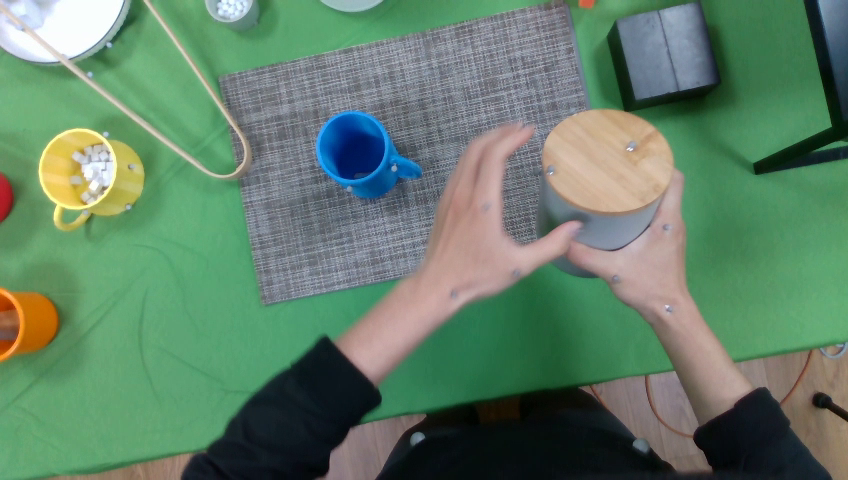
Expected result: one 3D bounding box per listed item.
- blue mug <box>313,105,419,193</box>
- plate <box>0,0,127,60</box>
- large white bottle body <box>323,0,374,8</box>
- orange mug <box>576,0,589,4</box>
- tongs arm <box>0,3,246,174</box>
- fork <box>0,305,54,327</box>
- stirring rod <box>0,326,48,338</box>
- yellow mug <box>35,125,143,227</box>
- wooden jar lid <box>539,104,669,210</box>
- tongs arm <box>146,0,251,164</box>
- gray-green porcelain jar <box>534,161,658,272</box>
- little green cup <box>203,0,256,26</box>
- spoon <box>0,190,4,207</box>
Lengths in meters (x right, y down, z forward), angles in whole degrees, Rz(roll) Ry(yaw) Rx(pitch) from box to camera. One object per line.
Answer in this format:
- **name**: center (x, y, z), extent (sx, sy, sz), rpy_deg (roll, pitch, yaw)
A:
- **blue mug**: center (-0.062, -0.100, 0.713), extent (0.116, 0.106, 0.082), rpy_deg (14, 87, 4)
- **plate**: center (-0.479, -0.333, 0.788), extent (0.207, 0.039, 0.207), rpy_deg (0, 88, 4)
- **large white bottle body**: center (-0.101, -0.367, 0.692), extent (0.130, 0.185, 0.130), rpy_deg (0, 86, 4)
- **orange mug**: center (0.204, -0.353, 0.716), extent (0.083, 0.101, 0.126), rpy_deg (12, 83, 5)
- **tongs arm**: center (-0.389, -0.203, 0.756), extent (0.385, 0.026, 0.051), rpy_deg (41, 87, -2)
- **fork**: center (-0.559, 0.091, 0.715), extent (0.209, 0.018, 0.028), rpy_deg (5, 85, -40)
- **stirring rod**: center (-0.547, 0.108, 0.716), extent (0.006, 0.177, 0.014), rpy_deg (-24, 66, 45)
- **yellow mug**: center (-0.424, -0.074, 0.757), extent (0.100, 0.064, 0.131), rpy_deg (27, 90, 4)
- **wooden jar lid**: center (0.152, -0.069, 0.519), extent (0.108, 0.021, 0.107), rpy_deg (-2, 61, 4)
- **tongs arm**: center (-0.329, -0.262, 0.758), extent (0.028, 0.028, 0.387), rpy_deg (-36, 92, -7)
- **gray-green porcelain jar**: center (0.158, -0.037, 0.573), extent (0.106, 0.127, 0.105), rpy_deg (-3, 59, 5)
- **little green cup**: center (-0.245, -0.305, 0.771), extent (0.061, 0.038, 0.061), rpy_deg (0, 88, 3)
- **spoon**: center (-0.620, -0.081, 0.731), extent (0.195, 0.021, 0.041), rpy_deg (25, 86, -39)
